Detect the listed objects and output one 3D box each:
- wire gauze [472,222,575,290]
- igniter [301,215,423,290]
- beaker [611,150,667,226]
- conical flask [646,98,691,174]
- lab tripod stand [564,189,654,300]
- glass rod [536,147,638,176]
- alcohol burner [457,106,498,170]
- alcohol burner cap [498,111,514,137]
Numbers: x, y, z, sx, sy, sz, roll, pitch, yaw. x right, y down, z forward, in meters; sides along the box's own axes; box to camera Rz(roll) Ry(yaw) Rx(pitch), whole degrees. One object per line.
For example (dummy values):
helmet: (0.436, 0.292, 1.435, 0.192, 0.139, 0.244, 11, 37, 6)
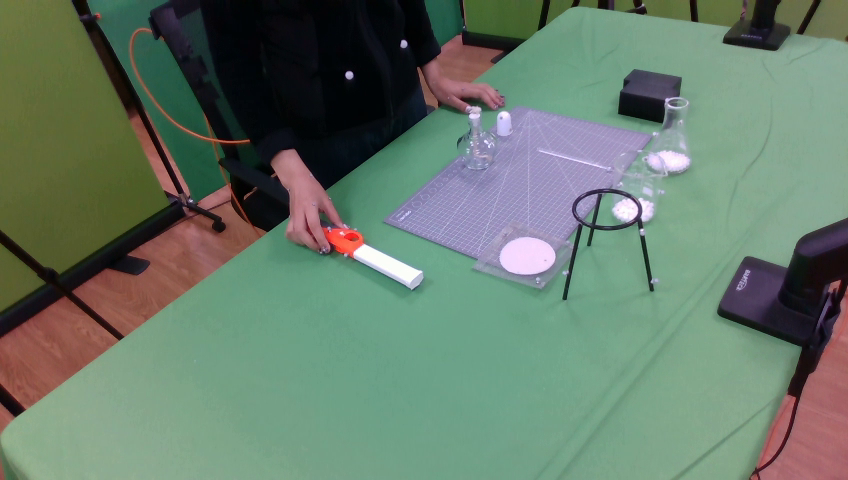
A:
wire gauze: (0.158, 0.024, 0.933, 0.120, 0.011, 0.125, 21, 49, 31)
igniter: (-0.111, 0.014, 0.985, 0.274, 0.025, 0.057, 25, 49, 35)
beaker: (0.337, -0.079, 0.953, 0.083, 0.101, 0.074, 25, 51, 33)
conical flask: (0.426, -0.180, 1.037, 0.075, 0.122, 0.075, -5, 40, 5)
lab tripod stand: (0.251, 0.003, 0.845, 0.148, 0.132, 0.147, -7, 39, 6)
glass rod: (0.294, -0.145, 1.104, 0.198, 0.008, 0.008, 22, 50, 31)
alcohol burner: (0.097, -0.191, 1.117, 0.078, 0.119, 0.077, -7, 39, 6)
alcohol burner cap: (0.163, -0.235, 1.211, 0.034, 0.048, 0.033, -6, 40, 6)
